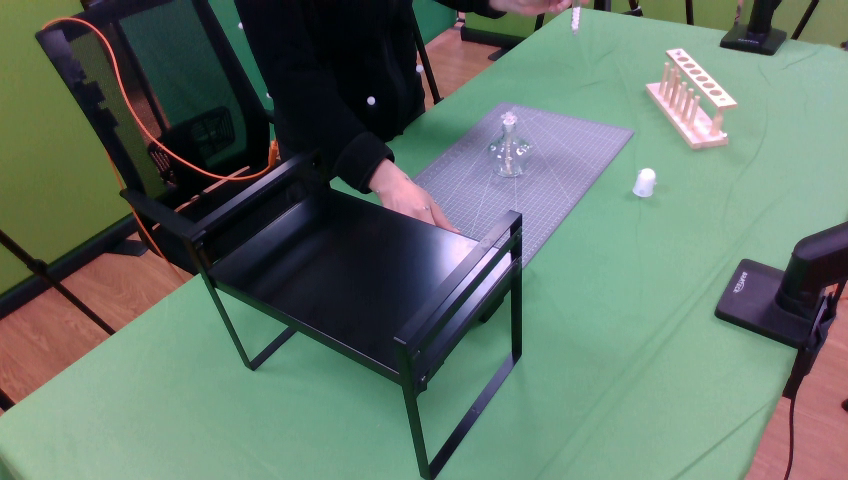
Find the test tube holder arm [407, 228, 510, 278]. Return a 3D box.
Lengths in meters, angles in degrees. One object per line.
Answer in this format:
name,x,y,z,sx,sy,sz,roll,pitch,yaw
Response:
test tube holder arm,0.046,0.017,0.877,0.177,0.015,0.013,22,65,30

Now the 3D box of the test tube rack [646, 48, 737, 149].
test tube rack,0.511,-0.280,1.175,0.067,0.085,0.241,-8,41,0

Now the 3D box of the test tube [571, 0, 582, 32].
test tube,0.266,-0.431,1.042,0.017,0.017,0.150,5,85,14

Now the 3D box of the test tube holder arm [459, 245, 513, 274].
test tube holder arm,0.085,0.027,0.856,0.087,0.015,0.010,21,64,30

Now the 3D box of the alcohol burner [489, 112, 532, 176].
alcohol burner,0.155,-0.176,1.083,0.078,0.119,0.077,-3,41,3

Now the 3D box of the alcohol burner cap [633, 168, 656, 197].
alcohol burner cap,0.374,-0.099,1.018,0.034,0.048,0.033,-1,42,1
